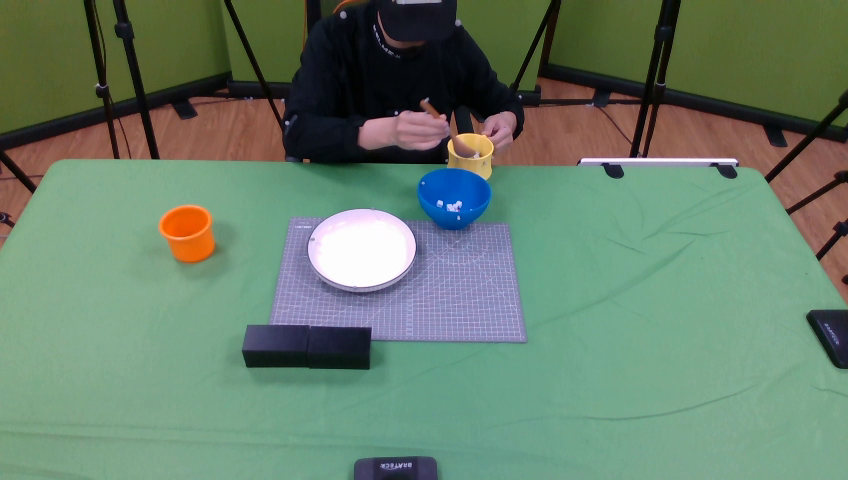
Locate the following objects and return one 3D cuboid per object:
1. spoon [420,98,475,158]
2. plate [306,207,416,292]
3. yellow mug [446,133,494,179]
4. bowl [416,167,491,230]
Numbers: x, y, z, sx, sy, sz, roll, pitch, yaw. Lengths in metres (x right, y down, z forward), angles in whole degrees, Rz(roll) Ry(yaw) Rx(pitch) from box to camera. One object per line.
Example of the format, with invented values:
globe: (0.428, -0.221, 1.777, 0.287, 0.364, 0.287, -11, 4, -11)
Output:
spoon: (0.044, -0.214, 1.175, 0.041, 0.195, 0.021, -6, 57, 33)
plate: (-0.119, 0.021, 1.153, 0.209, 0.038, 0.208, 2, 46, -2)
yellow mug: (0.106, -0.187, 1.318, 0.099, 0.064, 0.130, 23, 47, 22)
bowl: (0.057, -0.074, 1.231, 0.151, 0.077, 0.150, 2, 42, -2)
